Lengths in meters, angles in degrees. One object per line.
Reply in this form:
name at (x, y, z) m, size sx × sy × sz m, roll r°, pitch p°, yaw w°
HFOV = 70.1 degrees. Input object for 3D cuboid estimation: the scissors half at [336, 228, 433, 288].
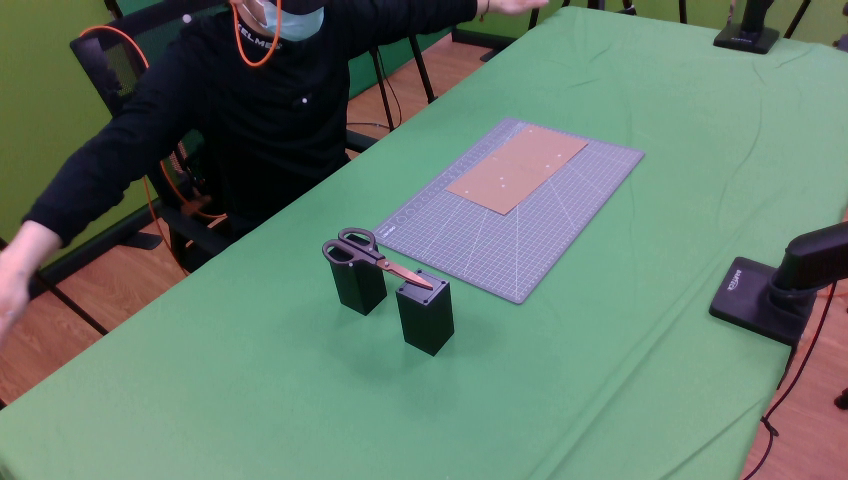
scissors half at (-0.052, 0.023, 0.803) m, size 0.173 × 0.013 × 0.040 m, roll 31°, pitch 52°, yaw 34°

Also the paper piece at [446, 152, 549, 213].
paper piece at (0.130, -0.105, 1.078) m, size 0.134 × 0.004 × 0.136 m, roll 28°, pitch 52°, yaw 33°

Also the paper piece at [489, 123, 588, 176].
paper piece at (0.218, -0.176, 1.150) m, size 0.135 × 0.009 × 0.138 m, roll 31°, pitch 52°, yaw 31°

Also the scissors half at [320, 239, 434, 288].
scissors half at (-0.064, 0.033, 0.790) m, size 0.174 × 0.013 × 0.040 m, roll 17°, pitch 40°, yaw 22°
